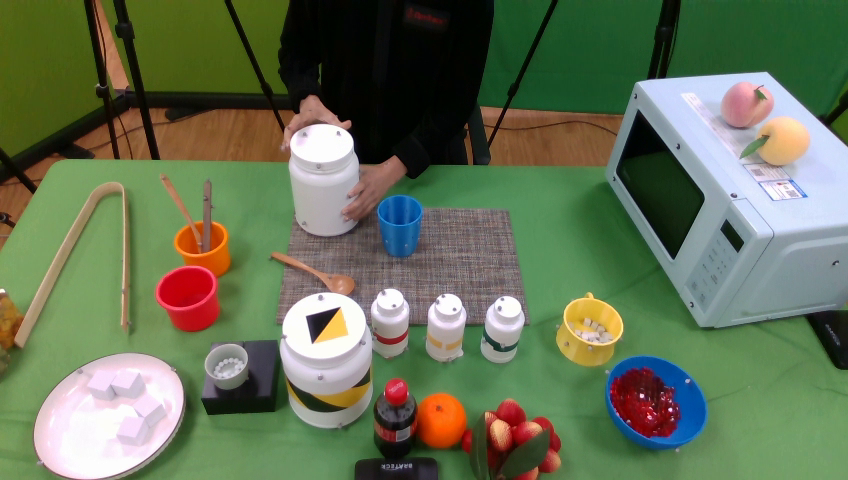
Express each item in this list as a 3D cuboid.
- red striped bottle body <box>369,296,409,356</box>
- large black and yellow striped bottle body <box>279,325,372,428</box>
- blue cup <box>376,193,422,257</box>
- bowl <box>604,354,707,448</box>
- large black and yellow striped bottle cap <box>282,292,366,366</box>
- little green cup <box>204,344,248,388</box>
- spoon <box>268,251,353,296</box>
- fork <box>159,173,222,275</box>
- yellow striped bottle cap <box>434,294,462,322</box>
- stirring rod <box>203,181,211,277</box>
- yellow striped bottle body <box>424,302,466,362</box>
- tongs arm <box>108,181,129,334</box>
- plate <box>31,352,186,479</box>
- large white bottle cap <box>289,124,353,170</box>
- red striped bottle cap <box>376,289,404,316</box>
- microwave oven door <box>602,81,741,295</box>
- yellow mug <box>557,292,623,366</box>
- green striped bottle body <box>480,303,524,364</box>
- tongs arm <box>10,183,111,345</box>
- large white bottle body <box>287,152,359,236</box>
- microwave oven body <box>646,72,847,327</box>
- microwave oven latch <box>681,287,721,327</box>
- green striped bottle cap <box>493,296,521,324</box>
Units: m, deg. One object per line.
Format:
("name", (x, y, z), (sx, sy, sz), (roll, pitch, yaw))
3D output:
("red striped bottle body", (-0.059, 0.134, 0.997), (0.063, 0.120, 0.062), (5, 48, -5))
("large black and yellow striped bottle body", (-0.143, 0.181, 0.900), (0.131, 0.185, 0.130), (2, 46, -2))
("blue cup", (-0.047, -0.021, 1.155), (0.093, 0.101, 0.092), (1, 46, -1))
("bowl", (0.346, 0.261, 0.937), (0.151, 0.077, 0.150), (2, 46, -2))
("large black and yellow striped bottle cap", (-0.138, 0.121, 0.841), (0.115, 0.019, 0.114), (3, 47, -3))
("little green cup", (-0.294, 0.191, 0.909), (0.061, 0.039, 0.061), (1, 48, -1))
("spoon", (-0.212, 0.057, 1.121), (0.193, 0.022, 0.041), (24, 74, 18))
("fork", (-0.427, -0.029, 1.103), (0.028, 0.018, 0.207), (-31, 99, -30))
("yellow striped bottle cap", (0.038, 0.107, 0.958), (0.044, 0.019, 0.044), (2, 45, -2))
("stirring rod", (-0.396, -0.021, 1.107), (0.014, 0.006, 0.176), (-1, 89, -1))
("yellow striped bottle body", (0.035, 0.143, 0.995), (0.063, 0.121, 0.062), (3, 46, -3))
("tongs arm", (-0.571, 0.019, 1.123), (0.051, 0.026, 0.382), (-10, 47, -12))
("plate", (-0.459, 0.262, 0.898), (0.209, 0.038, 0.208), (2, 46, -2))
("large white bottle cap", (-0.188, -0.172, 1.107), (0.115, 0.018, 0.114), (3, 47, -3))
("red striped bottle cap", (-0.054, 0.098, 0.958), (0.044, 0.018, 0.044), (0, 48, 0))
("microwave oven door", (0.456, -0.107, 1.162), (0.039, 0.245, 0.353), (-7, 47, -11))
("yellow mug", (0.286, 0.145, 1.051), (0.100, 0.064, 0.130), (7, 45, 4))
("green striped bottle body", (0.129, 0.147, 1.000), (0.063, 0.120, 0.063), (2, 46, -2))
("tongs arm", (-0.658, 0.027, 1.109), (0.028, 0.028, 0.385), (-2, 45, 2))
("large white bottle body", (-0.193, -0.112, 1.171), (0.131, 0.185, 0.130), (3, 47, -2))
("microwave oven body", (0.607, -0.089, 1.164), (0.326, 0.261, 0.438), (-7, 46, -10))
("microwave oven latch", (0.494, 0.119, 1.087), (0.030, 0.029, 0.078), (-6, 46, -9))
("green striped bottle cap", (0.133, 0.111, 0.962), (0.044, 0.020, 0.044), (2, 47, -2))
